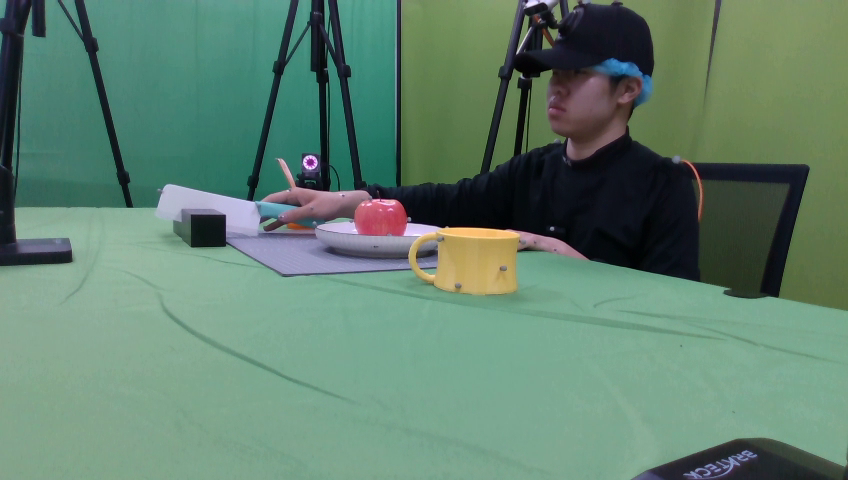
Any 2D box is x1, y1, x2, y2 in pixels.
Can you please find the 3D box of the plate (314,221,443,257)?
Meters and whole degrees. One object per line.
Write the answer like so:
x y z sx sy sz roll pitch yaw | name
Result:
-0.067 -0.002 0.948 0.209 0.038 0.209 3 7 0 | plate

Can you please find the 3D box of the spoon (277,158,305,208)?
-0.272 -0.103 1.260 0.042 0.193 0.021 -5 -34 -33 | spoon

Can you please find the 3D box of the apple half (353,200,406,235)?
-0.064 -0.023 0.909 0.081 0.074 0.053 4 11 -17 | apple half

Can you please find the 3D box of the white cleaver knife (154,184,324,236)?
-0.309 -0.041 1.048 0.288 0.066 0.021 10 2 -28 | white cleaver knife

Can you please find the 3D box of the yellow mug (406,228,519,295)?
0.044 0.022 0.707 0.131 0.064 0.100 2 7 5 | yellow mug

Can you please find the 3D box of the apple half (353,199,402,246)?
-0.076 -0.029 0.946 0.081 0.081 0.032 0 13 -18 | apple half
